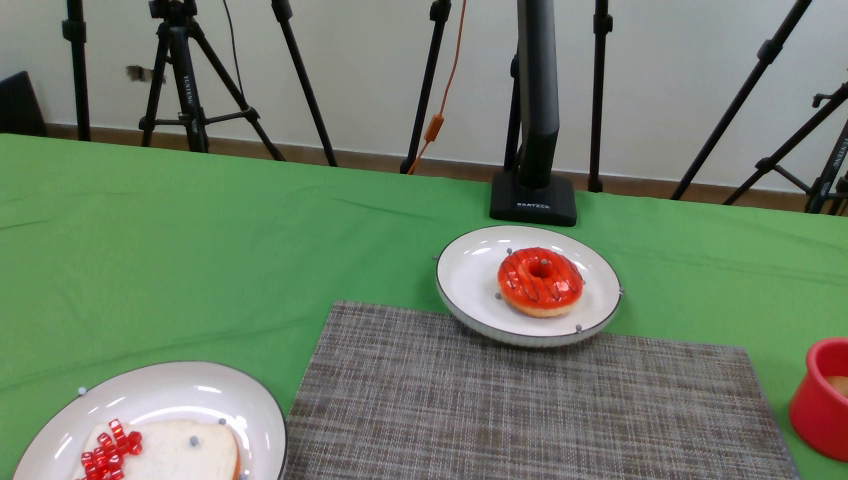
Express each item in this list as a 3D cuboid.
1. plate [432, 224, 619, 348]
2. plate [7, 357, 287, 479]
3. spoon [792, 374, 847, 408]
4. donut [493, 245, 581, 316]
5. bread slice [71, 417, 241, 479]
[{"bbox_3d":[0.112,0.053,0.690,0.208,0.039,0.205,3,34,-1],"label":"plate"},{"bbox_3d":[-0.215,0.183,0.490,0.209,0.038,0.207,2,37,-1],"label":"plate"},{"bbox_3d":[0.420,0.122,0.521,0.193,0.022,0.041,-20,13,42],"label":"spoon"},{"bbox_3d":[0.127,0.046,0.681,0.099,0.048,0.098,3,37,-2],"label":"donut"},{"bbox_3d":[-0.217,0.187,0.489,0.132,0.019,0.104,-2,37,-5],"label":"bread slice"}]
